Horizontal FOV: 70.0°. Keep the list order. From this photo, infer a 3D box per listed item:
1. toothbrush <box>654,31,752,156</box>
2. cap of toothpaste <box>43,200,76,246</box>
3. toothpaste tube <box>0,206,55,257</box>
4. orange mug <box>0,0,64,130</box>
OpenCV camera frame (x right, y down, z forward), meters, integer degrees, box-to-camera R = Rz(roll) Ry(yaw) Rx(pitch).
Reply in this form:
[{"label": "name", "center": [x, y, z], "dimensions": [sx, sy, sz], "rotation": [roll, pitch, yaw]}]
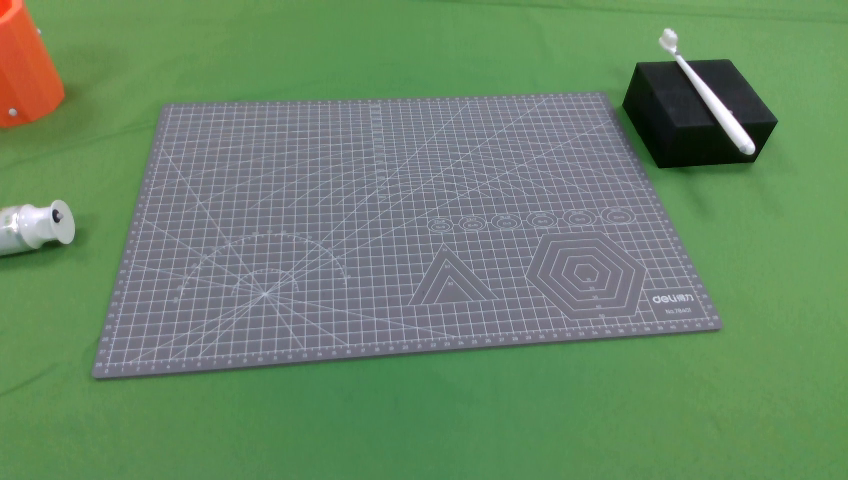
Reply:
[{"label": "toothbrush", "center": [0.259, -0.142, 0.567], "dimensions": [0.014, 0.017, 0.180], "rotation": [-3, 50, -12]}, {"label": "cap of toothpaste", "center": [-0.282, -0.013, 0.467], "dimensions": [0.011, 0.038, 0.037], "rotation": [-10, 50, -8]}, {"label": "toothpaste tube", "center": [-0.360, -0.001, 0.460], "dimensions": [0.165, 0.035, 0.054], "rotation": [-10, 46, -7]}, {"label": "orange mug", "center": [-0.405, -0.156, 0.543], "dimensions": [0.083, 0.101, 0.126], "rotation": [29, 49, 20]}]
